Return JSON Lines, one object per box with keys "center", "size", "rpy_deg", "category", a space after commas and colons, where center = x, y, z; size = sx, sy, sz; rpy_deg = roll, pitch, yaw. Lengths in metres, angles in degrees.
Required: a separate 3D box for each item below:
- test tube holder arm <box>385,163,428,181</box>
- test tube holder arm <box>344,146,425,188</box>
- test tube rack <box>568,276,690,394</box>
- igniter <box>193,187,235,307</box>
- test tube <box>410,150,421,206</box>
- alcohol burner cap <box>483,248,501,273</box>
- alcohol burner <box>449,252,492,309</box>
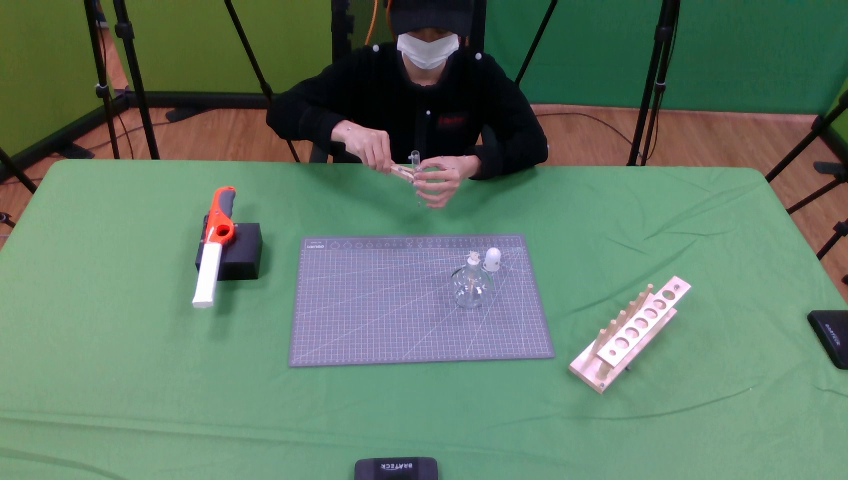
{"center": [-0.035, -0.132, 1.173], "size": [0.088, 0.015, 0.010], "rpy_deg": [13, 46, 1], "category": "test tube holder arm"}
{"center": [-0.078, -0.143, 1.175], "size": [0.178, 0.015, 0.013], "rpy_deg": [24, 47, 11], "category": "test tube holder arm"}
{"center": [0.353, 0.149, 1.039], "size": [0.242, 0.085, 0.066], "rpy_deg": [-34, 56, -31], "category": "test tube rack"}
{"center": [-0.378, 0.003, 1.096], "size": [0.057, 0.025, 0.274], "rpy_deg": [-1, 49, -6], "category": "igniter"}
{"center": [-0.015, -0.117, 1.175], "size": [0.017, 0.151, 0.017], "rpy_deg": [-1, 54, 1], "category": "test tube"}
{"center": [0.130, 0.037, 1.156], "size": [0.034, 0.048, 0.033], "rpy_deg": [1, 46, -1], "category": "alcohol burner cap"}
{"center": [0.084, 0.066, 1.073], "size": [0.078, 0.120, 0.077], "rpy_deg": [1, 44, -1], "category": "alcohol burner"}
